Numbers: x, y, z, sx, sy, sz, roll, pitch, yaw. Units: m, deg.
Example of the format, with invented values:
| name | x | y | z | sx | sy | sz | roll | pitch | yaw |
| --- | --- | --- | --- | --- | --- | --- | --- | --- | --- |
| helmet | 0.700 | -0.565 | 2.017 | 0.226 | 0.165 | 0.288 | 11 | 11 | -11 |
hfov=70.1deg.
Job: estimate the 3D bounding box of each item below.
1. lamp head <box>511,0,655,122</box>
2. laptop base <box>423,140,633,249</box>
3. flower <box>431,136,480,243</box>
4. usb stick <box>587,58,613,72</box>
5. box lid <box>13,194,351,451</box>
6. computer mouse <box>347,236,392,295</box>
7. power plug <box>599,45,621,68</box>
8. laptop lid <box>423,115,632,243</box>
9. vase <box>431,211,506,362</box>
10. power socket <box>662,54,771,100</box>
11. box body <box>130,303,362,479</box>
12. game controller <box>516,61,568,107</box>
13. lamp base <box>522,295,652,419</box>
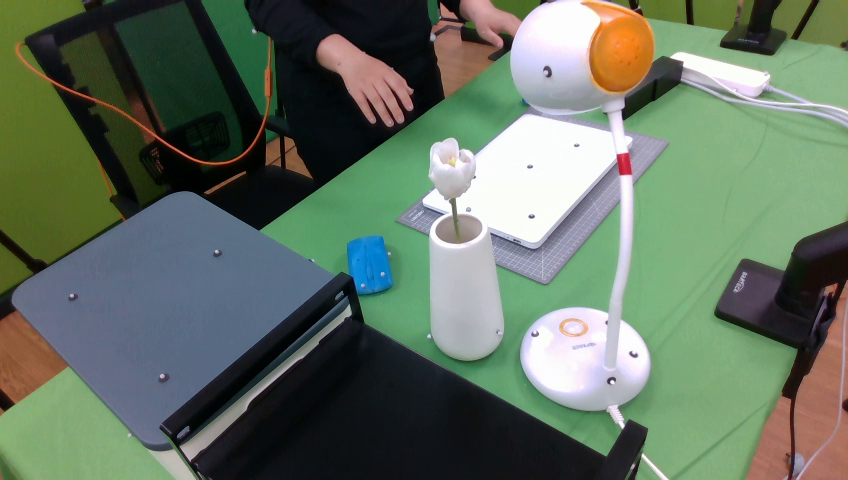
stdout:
| name | x | y | z | sx | sy | sz | roll | pitch | yaw |
| --- | --- | --- | --- | --- | --- | --- | --- | --- | --- |
| lamp head | 0.155 | -0.168 | 0.564 | 0.113 | 0.113 | 0.122 | -18 | 23 | -12 |
| laptop base | 0.194 | -0.117 | 1.087 | 0.233 | 0.023 | 0.355 | 21 | 47 | 34 |
| flower | 0.041 | 0.011 | 0.691 | 0.044 | 0.363 | 0.038 | 16 | 62 | 14 |
| usb stick | 0.401 | -0.399 | 1.381 | 0.059 | 0.027 | 0.021 | 1 | 49 | 21 |
| box lid | -0.292 | 0.067 | 0.717 | 0.368 | 0.015 | 0.264 | 25 | 50 | 33 |
| computer mouse | -0.086 | 0.035 | 0.936 | 0.063 | 0.041 | 0.116 | -8 | 44 | -5 |
| power plug | 0.436 | -0.421 | 1.412 | 0.053 | 0.035 | 0.072 | -17 | 75 | -48 |
| laptop lid | 0.190 | -0.126 | 1.081 | 0.239 | 0.013 | 0.358 | 23 | 48 | 34 |
| vase | 0.054 | 0.062 | 0.757 | 0.098 | 0.201 | 0.097 | -3 | 40 | 3 |
| power socket | 0.615 | -0.348 | 1.284 | 0.072 | 0.033 | 0.225 | -36 | 48 | -29 |
| box body | -0.285 | 0.123 | 0.766 | 0.361 | 0.161 | 0.255 | 25 | 49 | 33 |
| game controller | 0.259 | -0.352 | 1.336 | 0.097 | 0.052 | 0.154 | -3 | 41 | 2 |
| lamp base | 0.201 | 0.095 | 0.710 | 0.161 | 0.181 | 0.177 | -16 | 43 | -10 |
